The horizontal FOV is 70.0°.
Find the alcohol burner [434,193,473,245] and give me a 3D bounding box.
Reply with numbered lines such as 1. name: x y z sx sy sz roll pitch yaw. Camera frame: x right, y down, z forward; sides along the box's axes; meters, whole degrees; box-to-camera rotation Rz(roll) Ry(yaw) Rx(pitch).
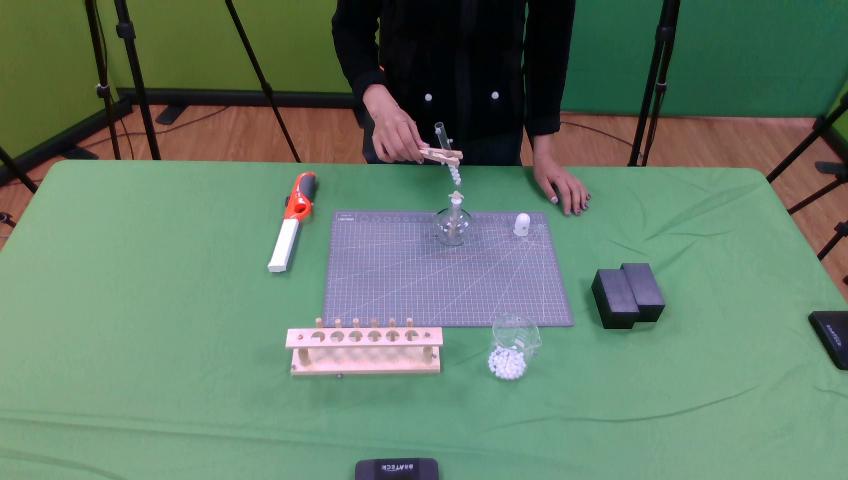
1. alcohol burner: 0.059 -0.047 1.180 0.078 0.120 0.077 1 48 -1

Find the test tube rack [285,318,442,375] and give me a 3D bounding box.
1. test tube rack: -0.095 0.167 0.986 0.242 0.085 0.066 0 46 -4

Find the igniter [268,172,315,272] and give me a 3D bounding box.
1. igniter: -0.263 -0.045 1.219 0.057 0.025 0.275 -2 45 8

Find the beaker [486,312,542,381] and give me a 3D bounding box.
1. beaker: 0.144 0.177 0.985 0.084 0.101 0.074 22 49 16

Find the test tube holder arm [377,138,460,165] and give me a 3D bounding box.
1. test tube holder arm: -0.013 -0.162 1.098 0.177 0.015 0.013 17 59 30

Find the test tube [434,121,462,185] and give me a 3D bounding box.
1. test tube: 0.044 -0.149 1.065 0.017 0.151 0.017 -10 51 12

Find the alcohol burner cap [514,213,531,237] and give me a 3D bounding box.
1. alcohol burner cap: 0.200 -0.034 1.227 0.034 0.048 0.033 1 46 -1

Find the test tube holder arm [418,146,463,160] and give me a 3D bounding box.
1. test tube holder arm: 0.028 -0.156 1.080 0.087 0.015 0.010 10 56 25
